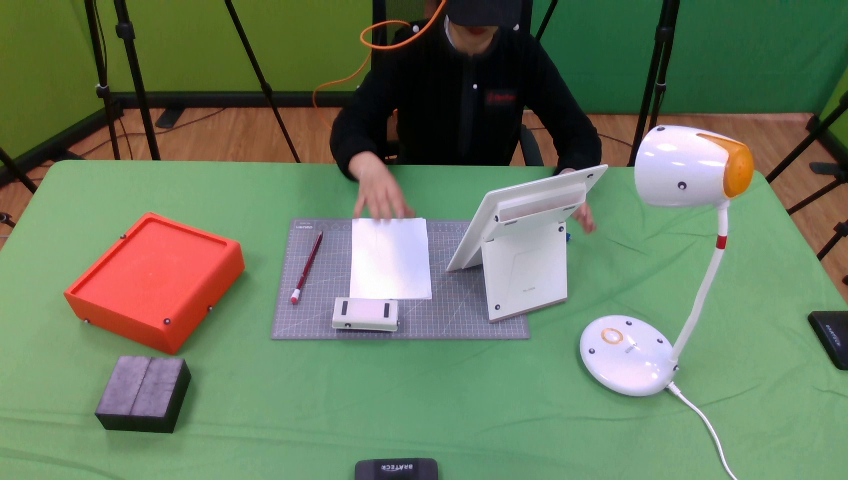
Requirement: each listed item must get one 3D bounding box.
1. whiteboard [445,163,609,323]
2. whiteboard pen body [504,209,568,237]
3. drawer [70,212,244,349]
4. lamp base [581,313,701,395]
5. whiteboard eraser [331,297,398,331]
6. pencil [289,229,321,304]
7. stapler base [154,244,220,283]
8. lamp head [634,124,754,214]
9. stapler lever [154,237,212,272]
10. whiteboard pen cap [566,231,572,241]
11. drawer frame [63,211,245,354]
[{"bbox_3d":[0.187,0.026,1.028,0.217,0.306,0.143,-13,68,-17],"label":"whiteboard"},{"bbox_3d":[0.230,-0.034,1.247,0.140,0.017,0.017,23,49,16],"label":"whiteboard pen body"},{"bbox_3d":[-0.458,0.065,1.060,0.194,0.073,0.211,18,48,12],"label":"drawer"},{"bbox_3d":[0.361,0.144,0.973,0.178,0.181,0.160,34,53,23],"label":"lamp base"},{"bbox_3d":[-0.102,0.130,1.046,0.113,0.042,0.055,3,45,-2],"label":"whiteboard eraser"},{"bbox_3d":[-0.221,0.045,1.141,0.012,0.012,0.193,8,44,4],"label":"pencil"},{"bbox_3d":[-0.434,0.038,1.107,0.130,0.024,0.041,21,45,17],"label":"stapler base"},{"bbox_3d":[0.351,-0.089,0.775,0.112,0.113,0.122,-30,30,-28],"label":"lamp head"},{"bbox_3d":[-0.434,0.021,1.091,0.118,0.040,0.027,23,45,15],"label":"stapler lever"},{"bbox_3d":[0.282,-0.012,1.230,0.033,0.018,0.018,25,49,15],"label":"whiteboard pen cap"},{"bbox_3d":[-0.459,0.067,1.056,0.201,0.083,0.212,17,48,11],"label":"drawer frame"}]
